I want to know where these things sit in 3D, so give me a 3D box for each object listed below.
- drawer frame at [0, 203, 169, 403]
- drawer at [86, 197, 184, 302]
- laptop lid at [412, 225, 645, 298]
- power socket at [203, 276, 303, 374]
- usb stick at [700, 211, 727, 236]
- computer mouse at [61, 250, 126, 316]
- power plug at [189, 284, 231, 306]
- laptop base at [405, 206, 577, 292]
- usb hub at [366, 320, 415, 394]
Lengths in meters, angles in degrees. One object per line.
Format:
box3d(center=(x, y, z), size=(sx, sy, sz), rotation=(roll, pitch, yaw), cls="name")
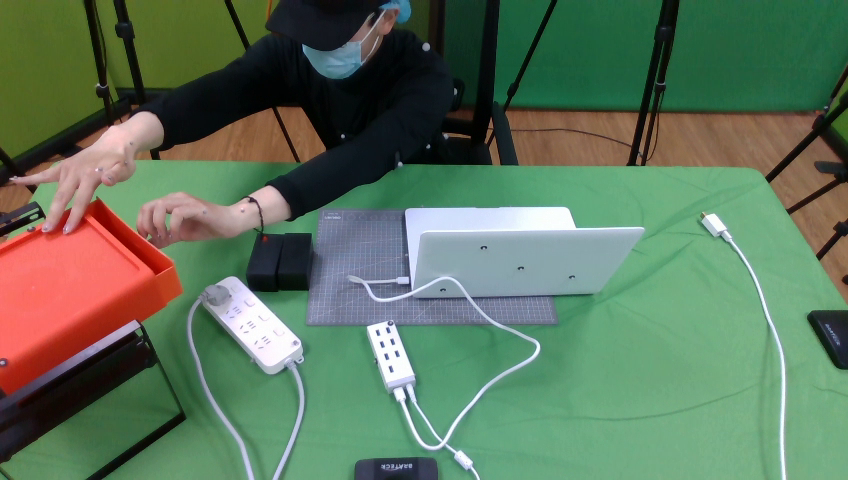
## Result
box3d(center=(-0.492, 0.072, 0.802), size=(0.201, 0.083, 0.213), rotation=(33, 53, 24), cls="drawer frame")
box3d(center=(-0.474, 0.058, 0.820), size=(0.193, 0.073, 0.211), rotation=(33, 53, 24), cls="drawer")
box3d(center=(0.161, 0.042, 1.012), size=(0.357, 0.242, 0.013), rotation=(0, 59, -7), cls="laptop lid")
box3d(center=(-0.295, 0.141, 1.034), size=(0.072, 0.033, 0.225), rotation=(-34, 58, -30), cls="power socket")
box3d(center=(0.606, -0.038, 1.273), size=(0.027, 0.021, 0.059), rotation=(-18, 57, -20), cls="usb stick")
box3d(center=(-0.459, 0.054, 0.842), size=(0.063, 0.041, 0.116), rotation=(-7, 42, -7), cls="computer mouse")
box3d(center=(-0.368, 0.100, 1.037), size=(0.072, 0.053, 0.035), rotation=(-23, 53, -26), cls="power plug")
box3d(center=(0.143, 0.018, 1.196), size=(0.355, 0.023, 0.234), rotation=(-1, 43, -6), cls="laptop base")
box3d(center=(-0.056, 0.192, 1.009), size=(0.049, 0.025, 0.124), rotation=(-12, 49, -16), cls="usb hub")
